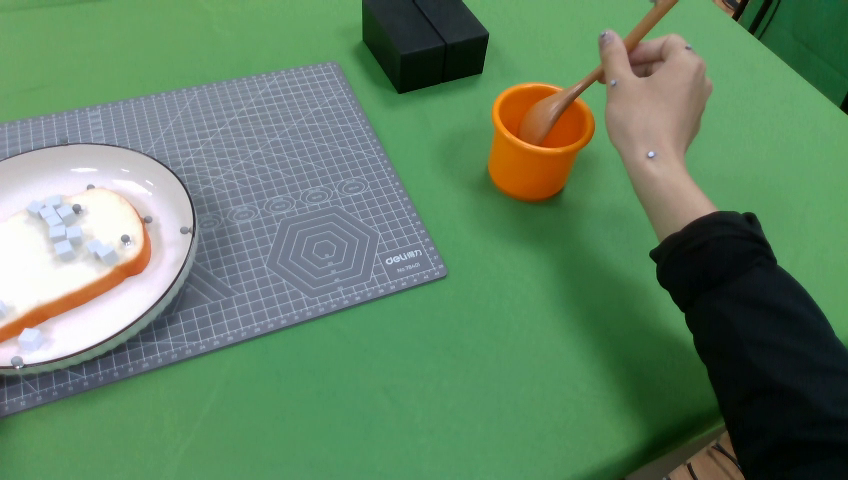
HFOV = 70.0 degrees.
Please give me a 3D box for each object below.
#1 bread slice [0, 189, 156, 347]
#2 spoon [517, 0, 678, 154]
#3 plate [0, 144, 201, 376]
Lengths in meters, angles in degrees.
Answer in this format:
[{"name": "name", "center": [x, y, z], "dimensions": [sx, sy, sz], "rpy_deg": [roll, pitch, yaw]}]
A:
[{"name": "bread slice", "center": [-0.282, 0.010, 0.470], "dimensions": [0.131, 0.019, 0.104], "rpy_deg": [-31, 63, -24]}, {"name": "spoon", "center": [0.144, -0.144, 0.512], "dimensions": [0.022, 0.194, 0.041], "rpy_deg": [22, 40, -36]}, {"name": "plate", "center": [-0.277, 0.012, 0.466], "dimensions": [0.209, 0.038, 0.207], "rpy_deg": [3, 54, -4]}]
